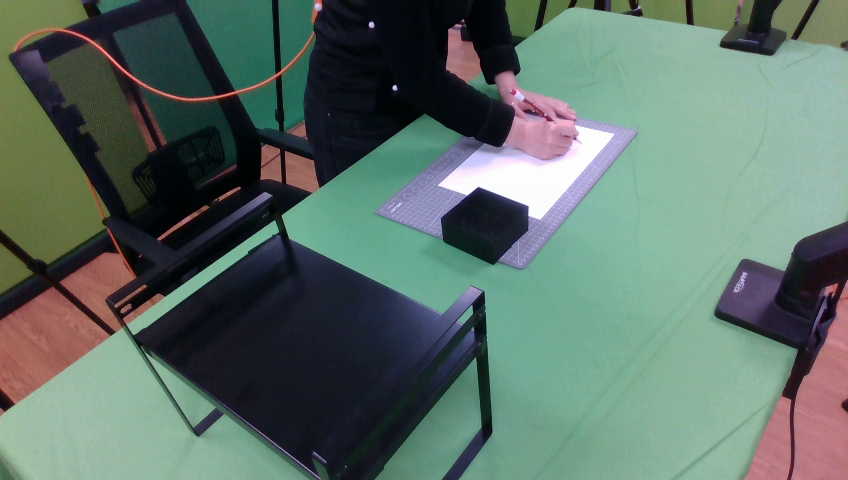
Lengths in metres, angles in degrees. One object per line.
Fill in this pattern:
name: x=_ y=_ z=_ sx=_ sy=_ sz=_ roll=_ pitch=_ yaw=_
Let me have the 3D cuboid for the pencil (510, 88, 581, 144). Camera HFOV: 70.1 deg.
pencil: x=0.227 y=-0.223 z=1.106 sx=0.012 sy=0.196 sz=0.012 roll=-36 pitch=39 yaw=37
